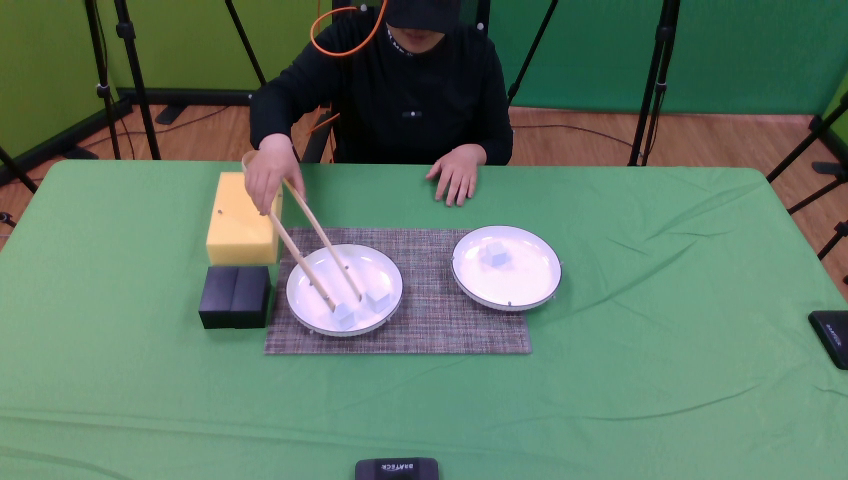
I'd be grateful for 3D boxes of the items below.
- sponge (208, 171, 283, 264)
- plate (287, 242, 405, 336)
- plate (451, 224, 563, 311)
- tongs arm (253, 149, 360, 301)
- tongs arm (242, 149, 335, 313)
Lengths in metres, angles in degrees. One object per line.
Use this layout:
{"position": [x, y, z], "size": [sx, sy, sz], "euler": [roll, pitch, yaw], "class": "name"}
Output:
{"position": [-0.346, -0.048, 1.191], "size": [0.118, 0.061, 0.205], "euler": [-2, 46, -7], "class": "sponge"}
{"position": [-0.138, 0.090, 1.085], "size": [0.208, 0.039, 0.206], "euler": [2, 46, -2], "class": "plate"}
{"position": [0.154, 0.053, 1.140], "size": [0.209, 0.038, 0.208], "euler": [2, 47, -2], "class": "plate"}
{"position": [-0.215, -0.037, 1.092], "size": [0.028, 0.028, 0.385], "euler": [-26, 60, -22], "class": "tongs arm"}
{"position": [-0.240, -0.027, 1.079], "size": [0.051, 0.026, 0.382], "euler": [-26, 60, -26], "class": "tongs arm"}
